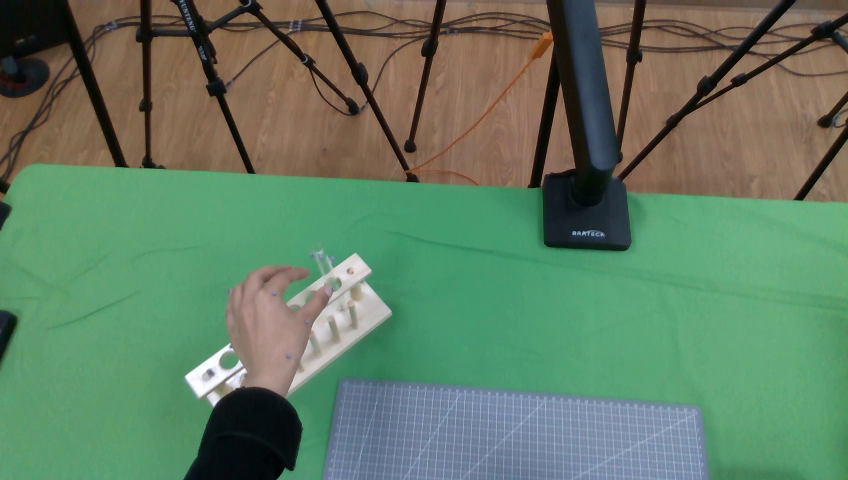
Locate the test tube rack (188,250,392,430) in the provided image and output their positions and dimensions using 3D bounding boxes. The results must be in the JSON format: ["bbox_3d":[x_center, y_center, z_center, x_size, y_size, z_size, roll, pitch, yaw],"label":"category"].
[{"bbox_3d":[-0.157,0.123,0.751,0.242,0.086,0.066,-37,67,-17],"label":"test tube rack"}]

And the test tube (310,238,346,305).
[{"bbox_3d":[-0.114,0.043,0.738,0.017,0.151,0.017,-2,58,3],"label":"test tube"}]
